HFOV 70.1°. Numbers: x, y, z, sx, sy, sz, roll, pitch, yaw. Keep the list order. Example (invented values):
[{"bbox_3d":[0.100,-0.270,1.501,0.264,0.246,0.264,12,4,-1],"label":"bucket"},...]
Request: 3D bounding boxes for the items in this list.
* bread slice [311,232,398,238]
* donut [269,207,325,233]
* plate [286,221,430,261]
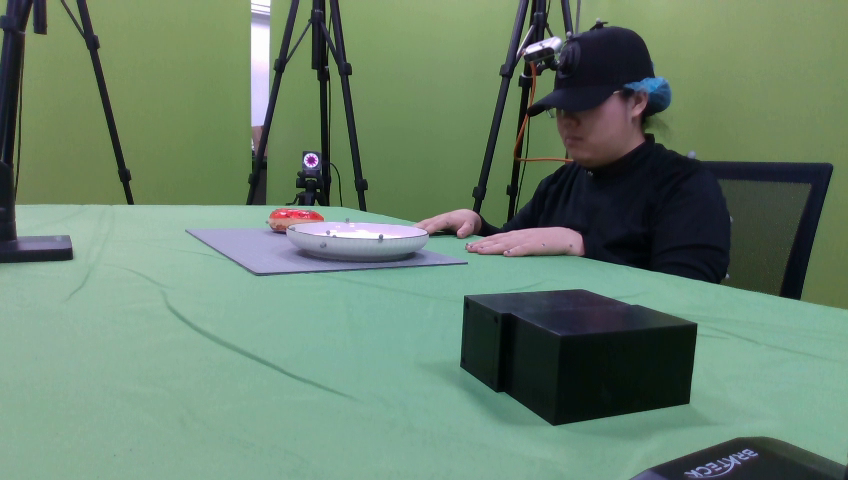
[{"bbox_3d":[-0.101,0.002,0.885,0.135,0.018,0.106,-3,8,-38],"label":"bread slice"},{"bbox_3d":[-0.230,-0.036,1.098,0.099,0.048,0.099,3,5,0],"label":"donut"},{"bbox_3d":[-0.096,0.001,0.886,0.209,0.038,0.209,2,7,0],"label":"plate"}]
